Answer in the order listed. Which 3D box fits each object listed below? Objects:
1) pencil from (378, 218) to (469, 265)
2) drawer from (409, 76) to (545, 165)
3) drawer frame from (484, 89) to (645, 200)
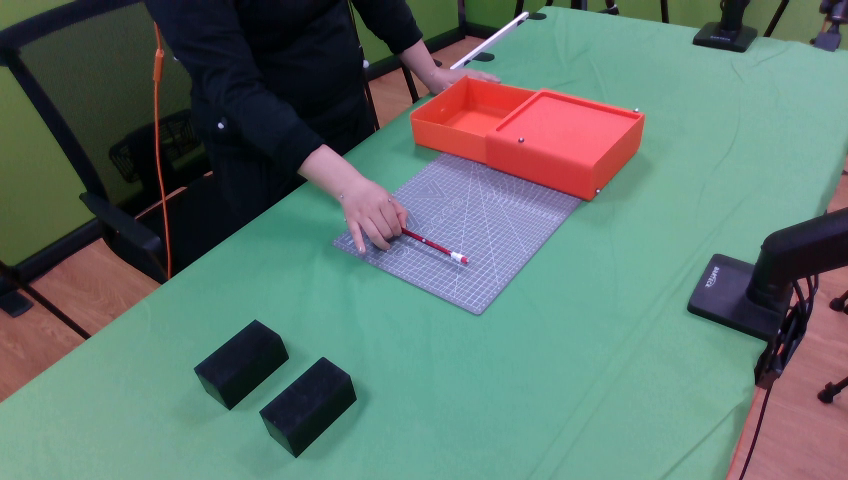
[{"bbox_3d":[-0.005,-0.001,0.963,0.192,0.012,0.012,26,50,34],"label":"pencil"},{"bbox_3d":[0.113,-0.237,1.190,0.210,0.073,0.195,22,47,33],"label":"drawer"},{"bbox_3d":[0.253,-0.180,1.094,0.212,0.083,0.202,24,48,31],"label":"drawer frame"}]
